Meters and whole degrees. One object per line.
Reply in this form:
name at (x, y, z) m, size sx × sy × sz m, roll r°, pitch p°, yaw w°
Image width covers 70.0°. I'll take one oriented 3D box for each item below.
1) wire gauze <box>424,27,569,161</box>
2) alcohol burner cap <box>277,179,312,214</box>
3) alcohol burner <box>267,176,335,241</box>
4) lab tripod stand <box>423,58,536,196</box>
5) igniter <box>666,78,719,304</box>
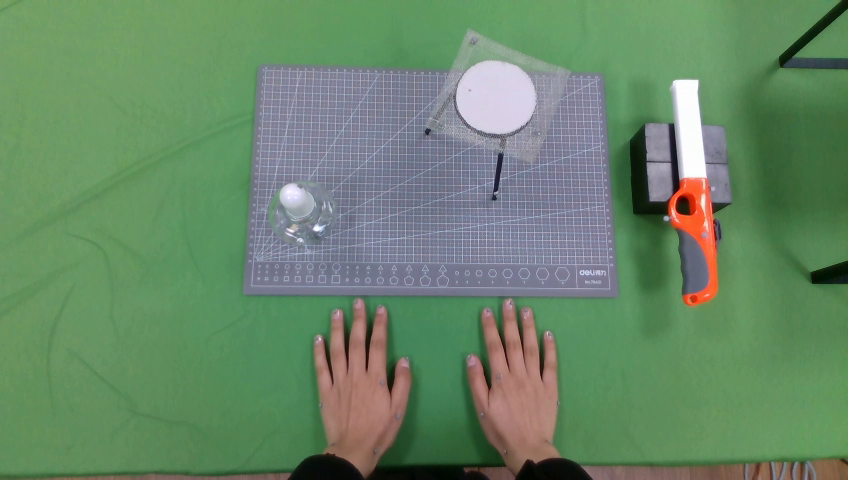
wire gauze at (0.079, -0.155, 0.641) m, size 0.121 × 0.011 × 0.124 m, roll 23°, pitch 76°, yaw 2°
alcohol burner cap at (-0.141, -0.049, 0.646) m, size 0.034 × 0.048 × 0.033 m, roll 0°, pitch 78°, yaw 0°
alcohol burner at (-0.140, -0.040, 0.681) m, size 0.078 × 0.119 × 0.077 m, roll 1°, pitch 78°, yaw -4°
lab tripod stand at (0.074, -0.142, 0.707) m, size 0.148 × 0.132 × 0.147 m, roll 1°, pitch 75°, yaw -3°
igniter at (0.312, -0.062, 0.712) m, size 0.057 × 0.025 × 0.275 m, roll 1°, pitch 76°, yaw 3°
